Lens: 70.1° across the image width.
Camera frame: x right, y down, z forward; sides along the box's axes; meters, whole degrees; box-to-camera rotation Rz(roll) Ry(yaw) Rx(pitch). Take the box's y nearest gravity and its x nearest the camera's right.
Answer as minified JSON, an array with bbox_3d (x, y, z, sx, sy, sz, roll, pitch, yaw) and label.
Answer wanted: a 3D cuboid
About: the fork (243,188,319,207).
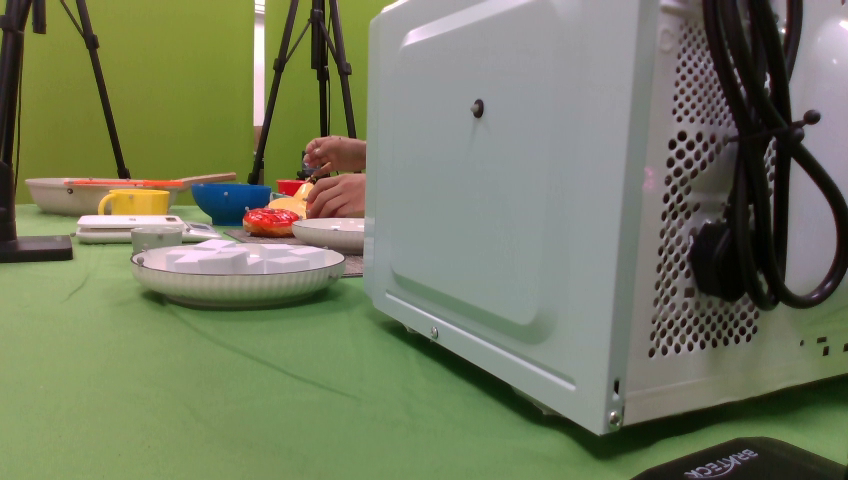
[{"bbox_3d":[-0.356,-0.105,1.526,0.208,0.018,0.028,16,-4,-41],"label":"fork"}]

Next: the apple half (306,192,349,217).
[{"bbox_3d":[-0.168,-0.050,1.098,0.053,0.074,0.081,1,-3,37],"label":"apple half"}]

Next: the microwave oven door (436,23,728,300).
[{"bbox_3d":[0.180,-0.073,0.621,0.358,0.243,0.039,-2,9,-29],"label":"microwave oven door"}]

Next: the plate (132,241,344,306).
[{"bbox_3d":[-0.187,0.033,0.625,0.208,0.039,0.207,2,7,0],"label":"plate"}]

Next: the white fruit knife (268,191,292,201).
[{"bbox_3d":[-0.364,-0.105,1.464,0.208,0.027,0.016,15,-1,-34],"label":"white fruit knife"}]

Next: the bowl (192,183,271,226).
[{"bbox_3d":[-0.382,-0.070,1.202,0.151,0.077,0.151,3,7,0],"label":"bowl"}]

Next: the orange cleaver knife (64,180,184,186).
[{"bbox_3d":[-0.595,-0.114,1.212,0.212,0.012,0.077,-4,6,-41],"label":"orange cleaver knife"}]

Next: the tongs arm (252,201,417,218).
[{"bbox_3d":[-0.209,-0.072,1.438,0.389,0.027,0.028,1,1,-16],"label":"tongs arm"}]

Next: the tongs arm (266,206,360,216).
[{"bbox_3d":[-0.173,-0.062,1.362,0.387,0.026,0.050,-1,5,-31],"label":"tongs arm"}]

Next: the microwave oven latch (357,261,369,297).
[{"bbox_3d":[-0.019,0.033,0.530,0.079,0.029,0.030,-1,7,-26],"label":"microwave oven latch"}]

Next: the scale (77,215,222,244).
[{"bbox_3d":[-0.434,-0.019,0.963,0.202,0.031,0.148,-1,9,-27],"label":"scale"}]

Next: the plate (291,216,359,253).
[{"bbox_3d":[-0.103,-0.009,0.945,0.209,0.038,0.209,2,8,0],"label":"plate"}]

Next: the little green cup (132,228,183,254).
[{"bbox_3d":[-0.342,0.006,0.779,0.061,0.038,0.061,2,8,0],"label":"little green cup"}]

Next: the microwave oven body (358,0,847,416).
[{"bbox_3d":[0.211,-0.047,0.474,0.444,0.260,0.324,-1,7,-28],"label":"microwave oven body"}]

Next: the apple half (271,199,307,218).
[{"bbox_3d":[-0.254,-0.039,1.143,0.081,0.032,0.081,17,46,-18],"label":"apple half"}]

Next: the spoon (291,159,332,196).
[{"bbox_3d":[-0.317,-0.159,1.640,0.194,0.022,0.041,-50,32,-20],"label":"spoon"}]

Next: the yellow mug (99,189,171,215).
[{"bbox_3d":[-0.519,-0.055,1.080,0.099,0.064,0.131,7,9,26],"label":"yellow mug"}]

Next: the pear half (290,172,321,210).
[{"bbox_3d":[-0.229,-0.078,1.183,0.076,0.110,0.056,-2,8,2],"label":"pear half"}]

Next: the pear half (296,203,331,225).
[{"bbox_3d":[-0.229,-0.050,1.259,0.070,0.031,0.088,0,22,-3],"label":"pear half"}]

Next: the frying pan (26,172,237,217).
[{"bbox_3d":[-0.624,-0.118,1.387,0.305,0.102,0.490,8,17,32],"label":"frying pan"}]

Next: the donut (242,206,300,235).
[{"bbox_3d":[-0.263,-0.032,1.039,0.099,0.048,0.099,4,10,0],"label":"donut"}]
